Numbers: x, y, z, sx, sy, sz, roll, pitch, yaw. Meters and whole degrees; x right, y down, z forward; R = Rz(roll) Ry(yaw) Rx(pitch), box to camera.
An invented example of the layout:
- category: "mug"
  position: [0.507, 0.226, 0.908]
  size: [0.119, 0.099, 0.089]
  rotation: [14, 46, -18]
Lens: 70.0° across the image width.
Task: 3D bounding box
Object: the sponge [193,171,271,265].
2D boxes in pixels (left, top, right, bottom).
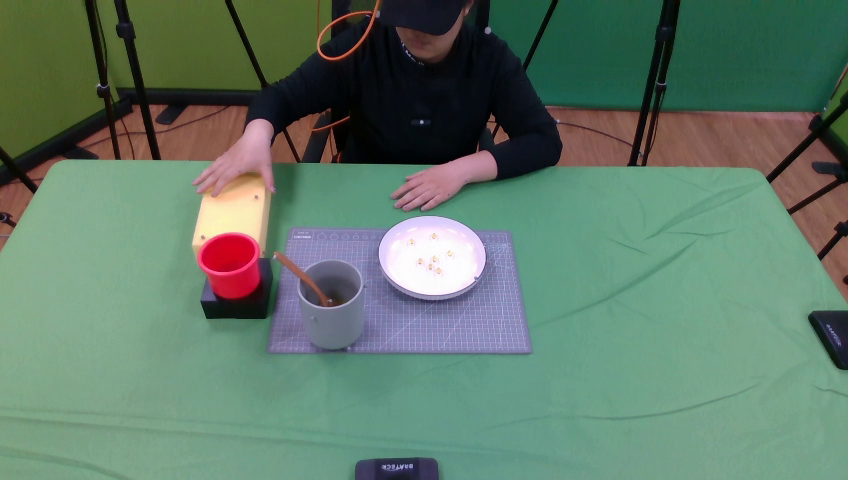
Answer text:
- category: "sponge"
  position: [-0.371, -0.047, 1.189]
  size: [0.118, 0.061, 0.205]
  rotation: [-3, 47, -6]

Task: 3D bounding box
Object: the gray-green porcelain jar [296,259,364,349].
- category: "gray-green porcelain jar"
  position: [-0.152, 0.111, 1.003]
  size: [0.106, 0.127, 0.105]
  rotation: [2, 46, -2]

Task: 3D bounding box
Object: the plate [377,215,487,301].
- category: "plate"
  position: [0.015, 0.037, 1.147]
  size: [0.208, 0.039, 0.206]
  rotation: [2, 46, -2]

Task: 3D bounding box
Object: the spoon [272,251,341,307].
- category: "spoon"
  position: [-0.180, 0.077, 0.982]
  size: [0.021, 0.195, 0.041]
  rotation: [-9, 46, 28]
